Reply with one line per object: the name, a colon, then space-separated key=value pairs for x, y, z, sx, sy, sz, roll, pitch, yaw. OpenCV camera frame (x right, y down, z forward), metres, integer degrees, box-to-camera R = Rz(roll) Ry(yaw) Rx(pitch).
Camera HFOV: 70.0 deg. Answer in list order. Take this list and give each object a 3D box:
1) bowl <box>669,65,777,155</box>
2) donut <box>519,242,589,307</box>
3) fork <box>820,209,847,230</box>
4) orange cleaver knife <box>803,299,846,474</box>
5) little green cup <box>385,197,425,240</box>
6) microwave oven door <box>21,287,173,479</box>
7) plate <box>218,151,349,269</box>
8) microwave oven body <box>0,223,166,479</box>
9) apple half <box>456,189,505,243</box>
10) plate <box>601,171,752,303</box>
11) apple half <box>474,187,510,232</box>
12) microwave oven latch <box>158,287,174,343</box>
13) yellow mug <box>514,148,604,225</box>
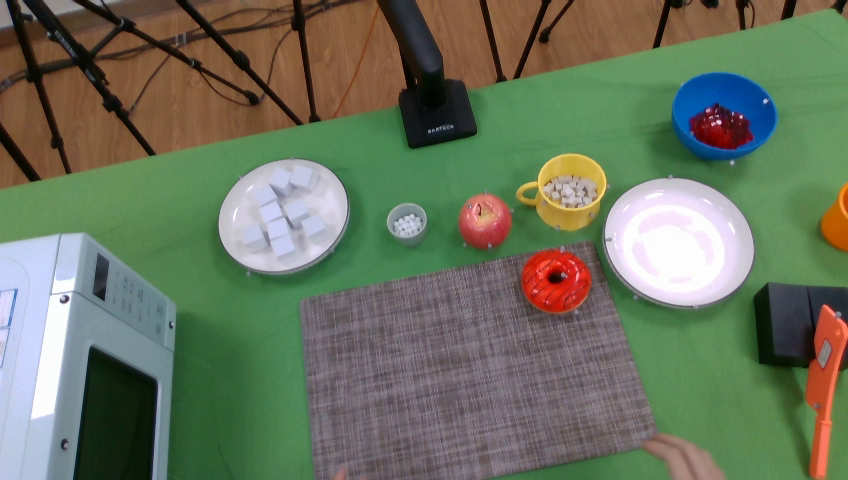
bowl: x=0.449 y=-0.186 z=0.937 sx=0.151 sy=0.077 sz=0.150 roll=-2 pitch=65 yaw=5
donut: x=0.184 y=0.049 z=0.866 sx=0.099 sy=0.048 sz=0.098 roll=-3 pitch=65 yaw=7
fork: x=0.650 y=-0.056 z=0.814 sx=0.207 sy=0.019 sz=0.028 roll=-28 pitch=51 yaw=42
orange cleaver knife: x=0.489 y=0.181 z=0.751 sx=0.012 sy=0.077 sz=0.211 roll=6 pitch=97 yaw=11
little green cup: x=-0.027 y=-0.030 z=0.934 sx=0.061 sy=0.039 sz=0.061 roll=-2 pitch=64 yaw=5
microwave oven door: x=-0.367 y=0.259 z=0.694 sx=0.039 sy=0.246 sz=0.352 roll=-9 pitch=64 yaw=2
plate: x=-0.219 y=-0.046 z=0.961 sx=0.207 sy=0.039 sz=0.206 roll=-2 pitch=64 yaw=5
microwave oven body: x=-0.516 y=0.247 z=0.721 sx=0.326 sy=0.262 sz=0.438 roll=-9 pitch=64 yaw=1
apple half: x=0.077 y=-0.027 z=0.903 sx=0.053 sy=0.075 sz=0.080 roll=-37 pitch=70 yaw=-7
plate: x=0.362 y=-0.003 z=0.881 sx=0.209 sy=0.038 sz=0.207 roll=-2 pitch=64 yaw=5
apple half: x=0.108 y=-0.050 z=0.909 sx=0.033 sy=0.082 sz=0.080 roll=-38 pitch=66 yaw=-7
microwave oven latch: x=-0.382 y=0.110 z=0.881 sx=0.030 sy=0.030 sz=0.078 roll=-7 pitch=65 yaw=2
yellow mug: x=0.202 y=-0.080 z=0.919 sx=0.131 sy=0.064 sz=0.099 roll=-2 pitch=64 yaw=6
